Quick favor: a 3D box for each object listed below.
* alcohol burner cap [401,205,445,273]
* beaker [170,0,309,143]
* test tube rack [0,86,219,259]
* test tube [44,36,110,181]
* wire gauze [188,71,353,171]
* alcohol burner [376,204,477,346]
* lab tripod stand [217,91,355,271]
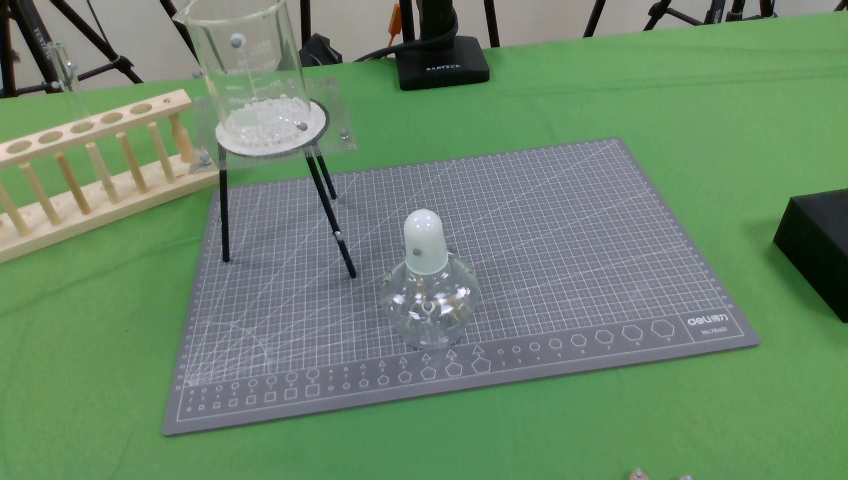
[{"bbox_3d":[-0.002,-0.003,0.433,0.034,0.048,0.033,-3,44,3],"label":"alcohol burner cap"},{"bbox_3d":[-0.131,-0.130,0.451,0.084,0.101,0.073,-6,42,0],"label":"beaker"},{"bbox_3d":[-0.343,-0.069,0.612,0.243,0.086,0.066,-24,46,-21],"label":"test tube rack"},{"bbox_3d":[-0.339,-0.124,0.596,0.017,0.151,0.017,0,36,0],"label":"test tube"},{"bbox_3d":[-0.126,-0.097,0.486,0.125,0.011,0.120,-14,41,-5],"label":"wire gauze"},{"bbox_3d":[0.001,0.023,0.457,0.078,0.120,0.077,-2,41,2],"label":"alcohol burner"},{"bbox_3d":[-0.122,-0.049,0.531,0.148,0.133,0.147,-3,44,3],"label":"lab tripod stand"}]
